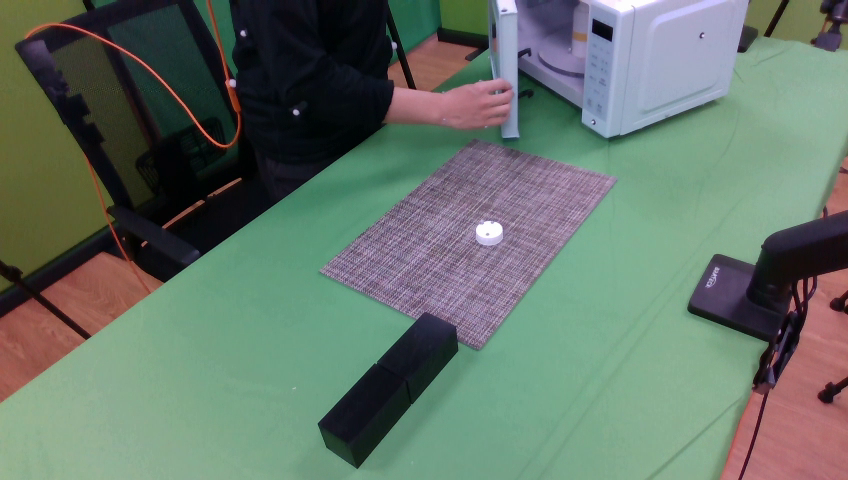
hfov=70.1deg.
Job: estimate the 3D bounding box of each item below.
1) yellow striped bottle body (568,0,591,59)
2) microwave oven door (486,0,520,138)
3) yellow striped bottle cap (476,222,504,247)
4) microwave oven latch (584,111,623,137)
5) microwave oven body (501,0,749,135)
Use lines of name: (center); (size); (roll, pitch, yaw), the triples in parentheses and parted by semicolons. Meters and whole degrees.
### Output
yellow striped bottle body: (0.336, -0.450, 1.270); (0.063, 0.121, 0.062); (-6, 46, 7)
microwave oven door: (0.156, -0.403, 1.222); (0.039, 0.245, 0.354); (-4, 41, 4)
yellow striped bottle cap: (0.105, -0.010, 0.966); (0.044, 0.019, 0.044); (-4, 39, 4)
microwave oven latch: (0.337, -0.222, 1.142); (0.030, 0.029, 0.078); (-21, 42, -14)
microwave oven body: (0.382, -0.444, 1.246); (0.327, 0.261, 0.437); (-22, 42, -16)
